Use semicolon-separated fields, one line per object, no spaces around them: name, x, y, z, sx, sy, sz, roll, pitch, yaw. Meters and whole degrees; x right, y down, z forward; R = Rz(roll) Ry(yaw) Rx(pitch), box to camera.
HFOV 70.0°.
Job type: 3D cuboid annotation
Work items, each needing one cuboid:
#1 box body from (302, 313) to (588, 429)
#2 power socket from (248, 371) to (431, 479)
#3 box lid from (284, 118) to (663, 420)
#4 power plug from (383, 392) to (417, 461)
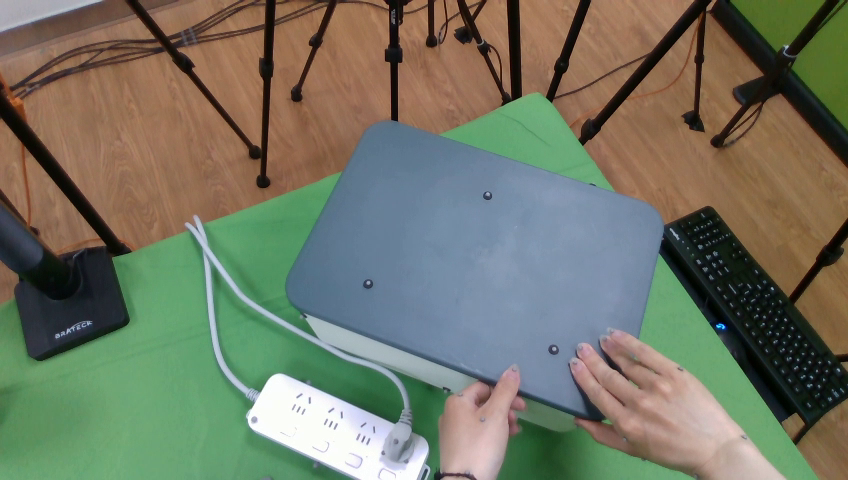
box body;0.059;0.048;0.729;0.363;0.161;0.253;19;65;7
power socket;-0.099;0.225;0.710;0.226;0.033;0.072;22;65;9
box lid;0.062;0.016;0.663;0.371;0.015;0.262;19;66;7
power plug;-0.018;0.218;0.691;0.035;0.053;0.072;31;63;16
